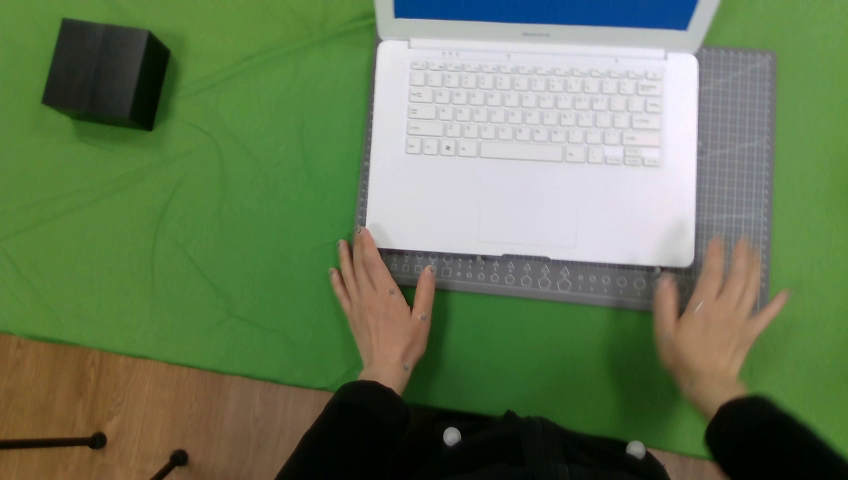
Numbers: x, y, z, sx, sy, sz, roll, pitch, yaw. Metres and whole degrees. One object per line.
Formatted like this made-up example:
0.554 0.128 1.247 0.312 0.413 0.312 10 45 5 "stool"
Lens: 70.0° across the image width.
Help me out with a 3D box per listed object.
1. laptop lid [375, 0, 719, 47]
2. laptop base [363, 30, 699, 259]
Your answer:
0.122 -0.282 0.574 0.356 0.244 0.013 3 59 4 "laptop lid"
0.116 -0.106 0.665 0.354 0.023 0.235 4 88 3 "laptop base"
